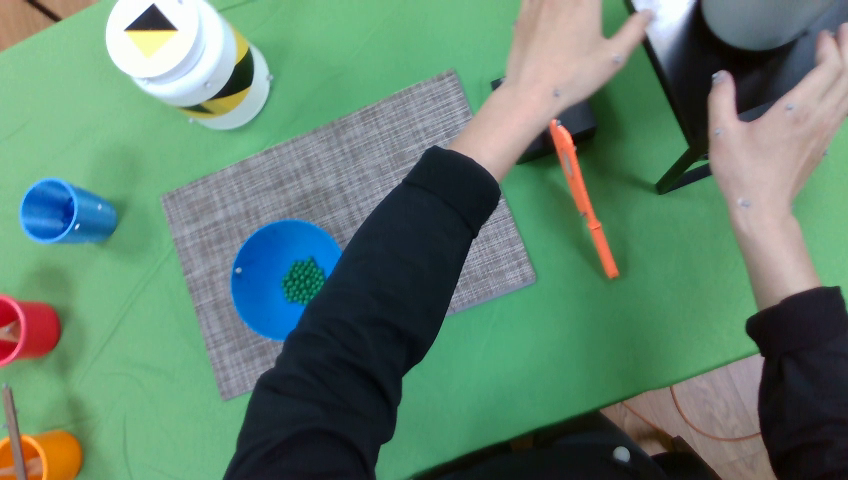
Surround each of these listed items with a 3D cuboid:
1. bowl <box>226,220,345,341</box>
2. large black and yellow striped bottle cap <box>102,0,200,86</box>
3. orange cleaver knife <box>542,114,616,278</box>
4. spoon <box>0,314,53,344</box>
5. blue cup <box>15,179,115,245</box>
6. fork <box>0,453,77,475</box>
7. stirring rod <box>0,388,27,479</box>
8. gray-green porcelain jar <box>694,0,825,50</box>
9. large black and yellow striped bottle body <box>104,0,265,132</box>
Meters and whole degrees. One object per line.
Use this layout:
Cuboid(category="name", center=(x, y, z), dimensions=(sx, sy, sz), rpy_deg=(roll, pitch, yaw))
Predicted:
Cuboid(category="bowl", center=(-0.165, 0.053, 0.778), dimensions=(0.151, 0.077, 0.151), rpy_deg=(-1, 85, 10))
Cuboid(category="large black and yellow striped bottle cap", center=(-0.314, -0.235, 0.695), dimensions=(0.115, 0.019, 0.114), rpy_deg=(-1, 86, 10))
Cuboid(category="orange cleaver knife", center=(0.186, -0.052, 0.729), dimensions=(0.012, 0.076, 0.213), rpy_deg=(-25, 111, 3))
Cuboid(category="spoon", center=(-0.614, 0.135, 0.818), dimensions=(0.195, 0.021, 0.041), rpy_deg=(-8, 82, -35))
Cuboid(category="blue cup", center=(-0.483, -0.031, 0.832), dimensions=(0.092, 0.100, 0.092), rpy_deg=(-1, 85, 8))
Cuboid(category="fork", center=(-0.573, 0.304, 0.790), dimensions=(0.209, 0.018, 0.028), rpy_deg=(3, 93, -34))
Cuboid(category="stirring rod", center=(-0.528, 0.278, 0.784), dimensions=(0.014, 0.006, 0.175), rpy_deg=(-17, 83, 5))
Cuboid(category="gray-green porcelain jar", center=(0.298, -0.233, 0.522), dimensions=(0.105, 0.127, 0.105), rpy_deg=(-1, 84, 11))
Cuboid(category="large black and yellow striped bottle body", center=(-0.300, -0.226, 0.777), dimensions=(0.130, 0.185, 0.130), rpy_deg=(-1, 84, 10))
